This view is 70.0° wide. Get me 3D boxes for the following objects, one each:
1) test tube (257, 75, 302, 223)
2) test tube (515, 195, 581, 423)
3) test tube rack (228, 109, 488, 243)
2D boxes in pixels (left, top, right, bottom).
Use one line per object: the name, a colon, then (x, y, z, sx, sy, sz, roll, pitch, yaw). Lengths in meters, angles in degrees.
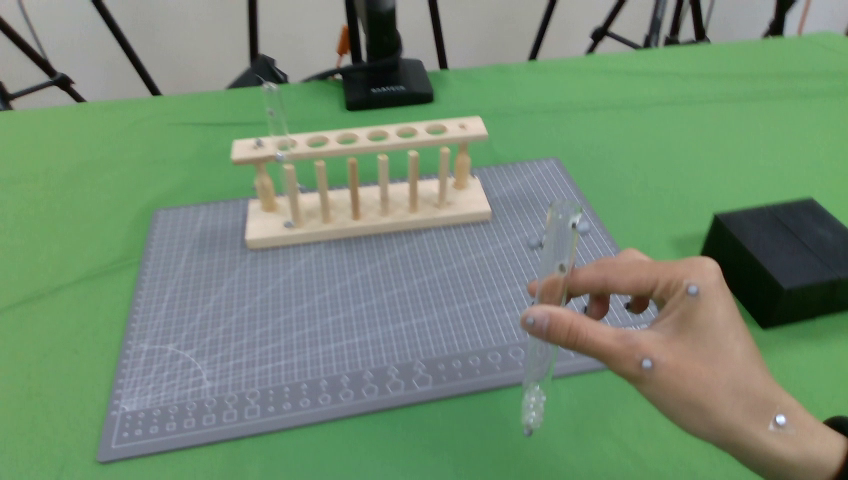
test tube: (-0.129, -0.078, 0.549, 0.017, 0.152, 0.017, -1, 40, 1)
test tube: (0.062, 0.044, 0.315, 0.017, 0.151, 0.017, 1, 35, 0)
test tube rack: (-0.060, -0.064, 0.599, 0.243, 0.086, 0.066, -7, 42, -7)
